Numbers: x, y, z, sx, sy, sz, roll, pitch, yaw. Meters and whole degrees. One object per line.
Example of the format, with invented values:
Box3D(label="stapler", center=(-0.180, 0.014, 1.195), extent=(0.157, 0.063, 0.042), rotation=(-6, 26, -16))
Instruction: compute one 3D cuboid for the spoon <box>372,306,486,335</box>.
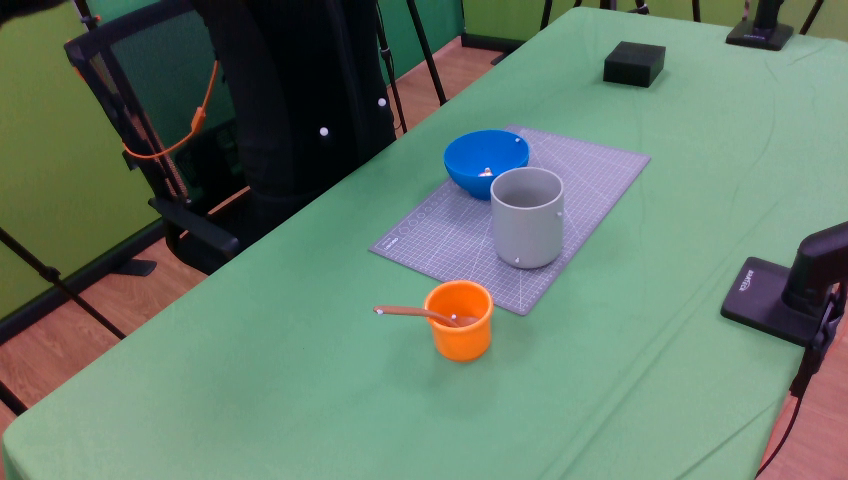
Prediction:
Box3D(label="spoon", center=(0.010, 0.098, 0.770), extent=(0.041, 0.195, 0.021), rotation=(44, 107, 45))

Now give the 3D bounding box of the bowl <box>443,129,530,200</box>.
Box3D(label="bowl", center=(0.113, -0.124, 1.063), extent=(0.151, 0.077, 0.150), rotation=(-6, 40, 5))

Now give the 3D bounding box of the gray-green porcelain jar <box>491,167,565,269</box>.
Box3D(label="gray-green porcelain jar", center=(0.157, -0.029, 0.904), extent=(0.106, 0.127, 0.105), rotation=(-6, 40, 5))
